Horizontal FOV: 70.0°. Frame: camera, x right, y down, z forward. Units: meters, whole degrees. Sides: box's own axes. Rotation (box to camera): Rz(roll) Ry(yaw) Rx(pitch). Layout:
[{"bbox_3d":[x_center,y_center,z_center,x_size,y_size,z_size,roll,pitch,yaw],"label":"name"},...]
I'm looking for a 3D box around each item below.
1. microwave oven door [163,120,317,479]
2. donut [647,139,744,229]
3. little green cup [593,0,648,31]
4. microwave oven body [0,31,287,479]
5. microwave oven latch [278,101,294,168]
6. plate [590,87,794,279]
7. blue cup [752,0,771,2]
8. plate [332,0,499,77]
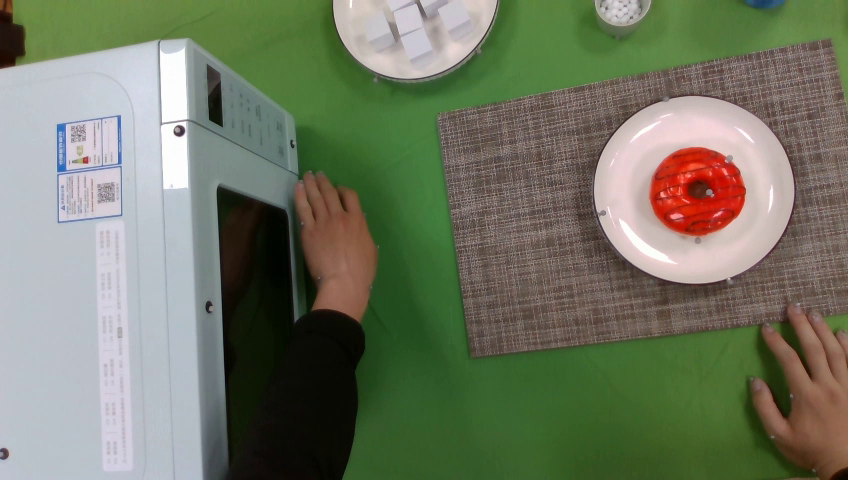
[{"bbox_3d":[-0.182,0.080,0.629,0.039,0.245,0.355,-6,84,11],"label":"microwave oven door"},{"bbox_3d":[0.292,-0.060,0.656,0.099,0.048,0.099,-1,85,14],"label":"donut"},{"bbox_3d":[0.226,-0.275,0.700,0.061,0.039,0.061,-1,85,11],"label":"little green cup"},{"bbox_3d":[-0.327,0.053,0.664,0.325,0.261,0.440,-6,85,10],"label":"microwave oven body"},{"bbox_3d":[-0.178,-0.129,0.748,0.030,0.029,0.079,-4,86,10],"label":"microwave oven latch"},{"bbox_3d":[0.289,-0.061,0.668,0.209,0.038,0.208,-1,86,11],"label":"plate"},{"bbox_3d":[0.377,-0.303,0.642,0.092,0.100,0.092,-1,87,10],"label":"blue cup"},{"bbox_3d":[-0.009,-0.299,0.747,0.207,0.039,0.207,-1,85,11],"label":"plate"}]
